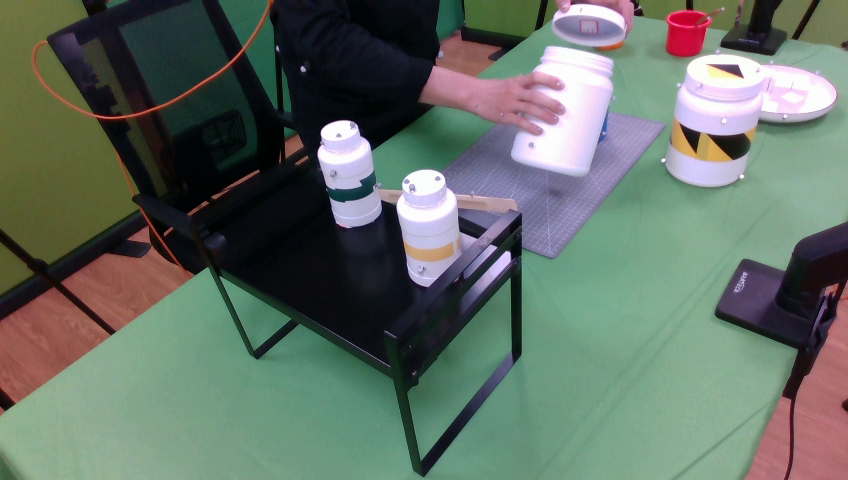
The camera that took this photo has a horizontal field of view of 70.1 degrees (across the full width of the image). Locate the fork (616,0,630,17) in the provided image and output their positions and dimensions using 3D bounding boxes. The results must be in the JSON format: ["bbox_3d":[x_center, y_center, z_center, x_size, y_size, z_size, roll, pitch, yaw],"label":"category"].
[{"bbox_3d":[0.479,-0.556,1.452,0.028,0.019,0.207,41,103,40],"label":"fork"}]

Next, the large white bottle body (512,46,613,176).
[{"bbox_3d":[0.225,-0.207,0.974,0.131,0.184,0.130,12,15,-3],"label":"large white bottle body"}]

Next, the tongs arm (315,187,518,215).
[{"bbox_3d":[-0.028,-0.060,0.988,0.381,0.027,0.051,10,45,36],"label":"tongs arm"}]

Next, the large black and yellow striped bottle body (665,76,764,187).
[{"bbox_3d":[0.482,-0.196,1.008,0.131,0.185,0.130,-4,41,4],"label":"large black and yellow striped bottle body"}]

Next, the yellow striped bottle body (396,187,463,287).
[{"bbox_3d":[0.006,-0.013,0.638,0.063,0.121,0.062,-5,41,5],"label":"yellow striped bottle body"}]

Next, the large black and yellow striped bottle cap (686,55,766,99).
[{"bbox_3d":[0.474,-0.258,0.952,0.115,0.019,0.114,-5,41,5],"label":"large black and yellow striped bottle cap"}]

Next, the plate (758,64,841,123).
[{"bbox_3d":[0.694,-0.283,1.189,0.207,0.039,0.206,-4,40,4],"label":"plate"}]

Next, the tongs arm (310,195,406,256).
[{"bbox_3d":[-0.078,-0.013,0.944,0.028,0.028,0.384,-42,39,-23],"label":"tongs arm"}]

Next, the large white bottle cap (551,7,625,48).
[{"bbox_3d":[0.259,-0.336,0.959,0.114,0.115,0.018,12,88,21],"label":"large white bottle cap"}]

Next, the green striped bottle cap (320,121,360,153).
[{"bbox_3d":[-0.097,-0.120,0.699,0.044,0.020,0.044,-3,39,3],"label":"green striped bottle cap"}]

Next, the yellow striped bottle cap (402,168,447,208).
[{"bbox_3d":[0.000,-0.052,0.604,0.044,0.019,0.044,-4,44,5],"label":"yellow striped bottle cap"}]

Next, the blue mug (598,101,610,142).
[{"bbox_3d":[0.298,-0.239,1.143,0.081,0.106,0.117,30,53,36],"label":"blue mug"}]

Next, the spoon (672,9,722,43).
[{"bbox_3d":[0.606,-0.476,1.345,0.042,0.021,0.193,-6,-3,-2],"label":"spoon"}]

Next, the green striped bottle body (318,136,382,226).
[{"bbox_3d":[-0.090,-0.080,0.733,0.063,0.120,0.063,-4,41,4],"label":"green striped bottle body"}]

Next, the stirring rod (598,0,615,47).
[{"bbox_3d":[0.437,-0.551,1.462,0.014,0.006,0.175,-11,83,1],"label":"stirring rod"}]
